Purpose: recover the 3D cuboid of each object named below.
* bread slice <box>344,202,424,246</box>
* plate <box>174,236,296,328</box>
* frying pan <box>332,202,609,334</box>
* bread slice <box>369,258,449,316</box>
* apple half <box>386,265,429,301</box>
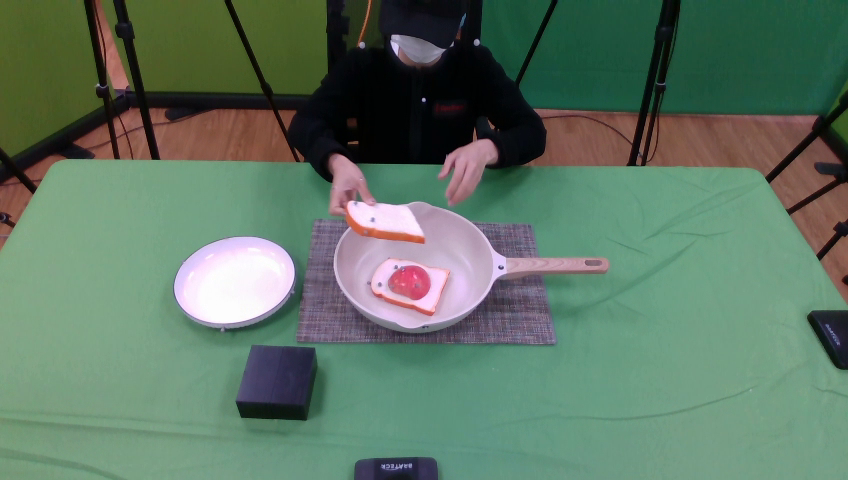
[{"bbox_3d":[-0.069,-0.031,1.029,0.132,0.019,0.104,9,29,-27],"label":"bread slice"},{"bbox_3d":[-0.335,0.077,1.087,0.208,0.039,0.206,2,46,-2],"label":"plate"},{"bbox_3d":[0.085,0.052,1.093,0.488,0.103,0.305,-1,46,6],"label":"frying pan"},{"bbox_3d":[-0.031,0.083,1.108,0.134,0.018,0.106,13,45,7],"label":"bread slice"},{"bbox_3d":[-0.027,0.068,1.090,0.081,0.033,0.081,4,47,-4],"label":"apple half"}]
